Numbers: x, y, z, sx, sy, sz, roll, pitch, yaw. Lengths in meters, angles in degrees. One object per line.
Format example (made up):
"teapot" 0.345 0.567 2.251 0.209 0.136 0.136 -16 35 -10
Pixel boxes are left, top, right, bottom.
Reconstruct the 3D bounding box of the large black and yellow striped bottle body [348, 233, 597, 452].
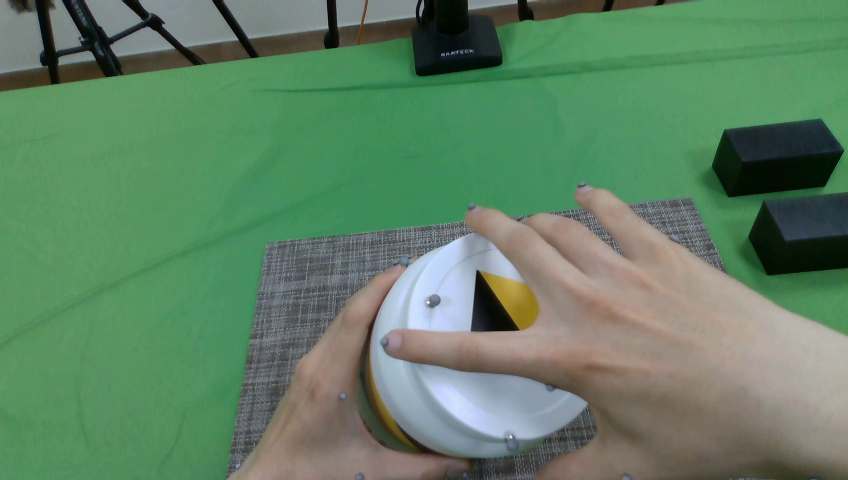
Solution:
"large black and yellow striped bottle body" 0.023 0.074 0.408 0.131 0.184 0.130 5 71 -13

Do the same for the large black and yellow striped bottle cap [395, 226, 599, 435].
"large black and yellow striped bottle cap" 0.042 0.047 0.332 0.115 0.019 0.114 5 71 -15
